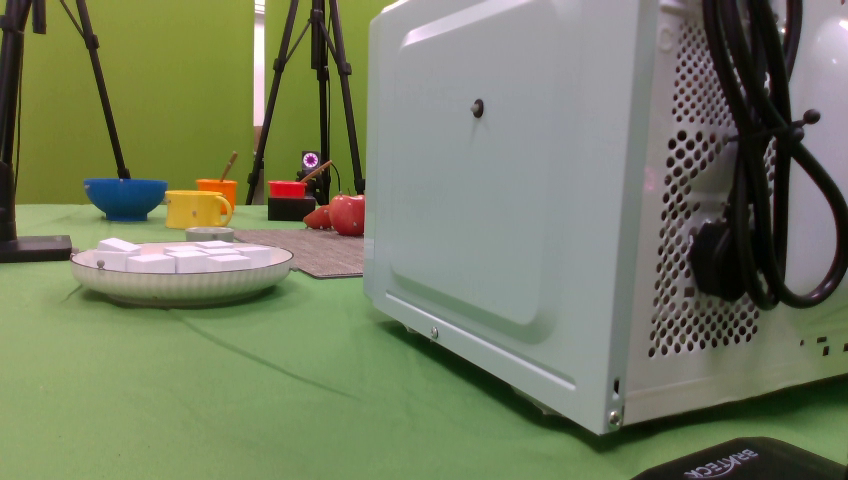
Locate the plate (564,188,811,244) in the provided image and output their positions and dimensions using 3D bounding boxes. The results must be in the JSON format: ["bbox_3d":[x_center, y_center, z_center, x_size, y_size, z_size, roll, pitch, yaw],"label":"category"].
[{"bbox_3d":[0.235,-0.025,0.559,0.209,0.038,0.209,-1,8,0],"label":"plate"}]

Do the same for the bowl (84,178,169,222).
[{"bbox_3d":[-0.584,-0.078,1.194,0.151,0.077,0.151,3,8,0],"label":"bowl"}]

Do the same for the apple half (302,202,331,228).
[{"bbox_3d":[-0.193,-0.044,1.169,0.081,0.032,0.081,-25,-11,-5],"label":"apple half"}]

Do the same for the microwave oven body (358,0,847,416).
[{"bbox_3d":[0.211,-0.047,0.475,0.444,0.260,0.324,-1,7,-28],"label":"microwave oven body"}]

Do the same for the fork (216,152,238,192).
[{"bbox_3d":[-0.455,-0.132,1.367,0.028,0.018,0.207,-2,-35,-37],"label":"fork"}]

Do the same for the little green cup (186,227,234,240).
[{"bbox_3d":[-0.284,0.005,0.805,0.061,0.038,0.061,2,8,0],"label":"little green cup"}]

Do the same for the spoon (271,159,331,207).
[{"bbox_3d":[-0.308,-0.142,1.514,0.193,0.021,0.041,-41,3,8],"label":"spoon"}]

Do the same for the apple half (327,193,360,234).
[{"bbox_3d":[-0.132,-0.046,1.087,0.081,0.074,0.053,5,10,-13],"label":"apple half"}]

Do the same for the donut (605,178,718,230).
[{"bbox_3d":[0.220,-0.033,0.564,0.099,0.048,0.099,-4,7,1],"label":"donut"}]

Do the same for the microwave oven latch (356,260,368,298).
[{"bbox_3d":[-0.020,0.033,0.530,0.079,0.029,0.030,0,7,-26],"label":"microwave oven latch"}]

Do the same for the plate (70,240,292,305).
[{"bbox_3d":[-0.242,0.031,0.618,0.208,0.039,0.207,2,8,0],"label":"plate"}]

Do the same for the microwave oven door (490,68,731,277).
[{"bbox_3d":[0.230,-0.098,0.834,0.039,0.243,0.354,-3,9,-37],"label":"microwave oven door"}]

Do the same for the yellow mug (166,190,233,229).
[{"bbox_3d":[-0.415,-0.057,1.132,0.130,0.064,0.100,6,8,16],"label":"yellow mug"}]

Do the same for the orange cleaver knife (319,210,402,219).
[{"bbox_3d":[-0.142,-0.057,1.394,0.077,0.012,0.212,1,6,44],"label":"orange cleaver knife"}]
